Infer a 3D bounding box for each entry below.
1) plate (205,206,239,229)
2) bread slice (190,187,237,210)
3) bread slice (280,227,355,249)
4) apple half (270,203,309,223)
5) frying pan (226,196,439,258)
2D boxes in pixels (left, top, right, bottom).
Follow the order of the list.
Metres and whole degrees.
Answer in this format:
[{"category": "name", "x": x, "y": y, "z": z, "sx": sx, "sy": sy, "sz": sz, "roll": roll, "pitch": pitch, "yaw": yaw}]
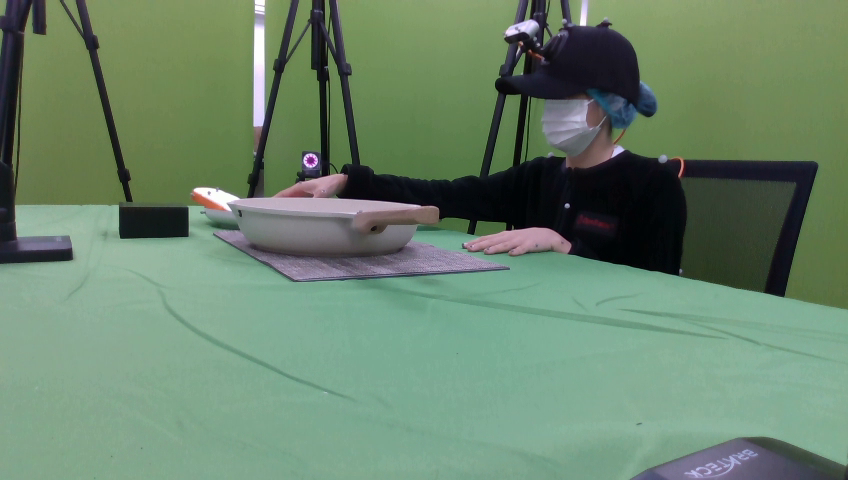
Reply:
[{"category": "plate", "x": -0.324, "y": -0.046, "z": 1.199, "sx": 0.208, "sy": 0.039, "sz": 0.207, "roll": 3, "pitch": 7, "yaw": 0}, {"category": "bread slice", "x": -0.402, "y": -0.074, "z": 1.218, "sx": 0.131, "sy": 0.019, "sz": 0.105, "roll": 26, "pitch": 12, "yaw": 15}, {"category": "bread slice", "x": -0.171, "y": -0.004, "z": 0.943, "sx": 0.107, "sy": 0.018, "sz": 0.134, "roll": 2, "pitch": 7, "yaw": -15}, {"category": "apple half", "x": -0.265, "y": -0.058, "z": 1.180, "sx": 0.081, "sy": 0.033, "sz": 0.081, "roll": -17, "pitch": 4, "yaw": 2}, {"category": "frying pan", "x": -0.103, "y": -0.027, "z": 0.845, "sx": 0.308, "sy": 0.102, "sz": 0.486, "roll": -1, "pitch": 0, "yaw": -25}]
